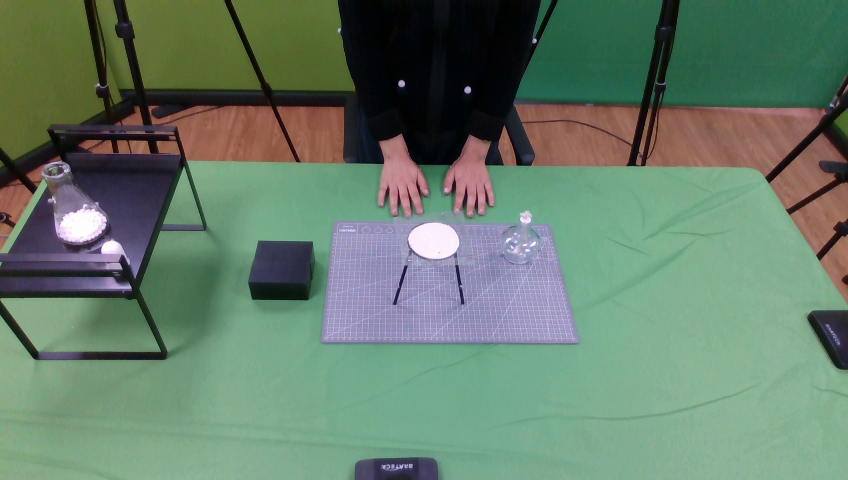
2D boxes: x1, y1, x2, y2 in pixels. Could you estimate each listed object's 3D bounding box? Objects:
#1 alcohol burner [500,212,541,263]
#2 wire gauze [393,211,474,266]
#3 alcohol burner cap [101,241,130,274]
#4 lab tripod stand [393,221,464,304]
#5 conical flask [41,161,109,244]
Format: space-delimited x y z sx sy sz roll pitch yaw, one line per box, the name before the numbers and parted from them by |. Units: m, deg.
alcohol burner | 0.186 -0.011 1.156 0.078 0.120 0.077 2 48 -2
wire gauze | 0.014 -0.003 1.028 0.125 0.011 0.120 -4 47 -7
alcohol burner cap | -0.449 0.022 0.878 0.034 0.048 0.033 2 45 -2
lab tripod stand | 0.009 0.045 1.075 0.148 0.132 0.147 2 48 -2
conical flask | -0.522 -0.058 0.894 0.075 0.122 0.075 2 46 -2
